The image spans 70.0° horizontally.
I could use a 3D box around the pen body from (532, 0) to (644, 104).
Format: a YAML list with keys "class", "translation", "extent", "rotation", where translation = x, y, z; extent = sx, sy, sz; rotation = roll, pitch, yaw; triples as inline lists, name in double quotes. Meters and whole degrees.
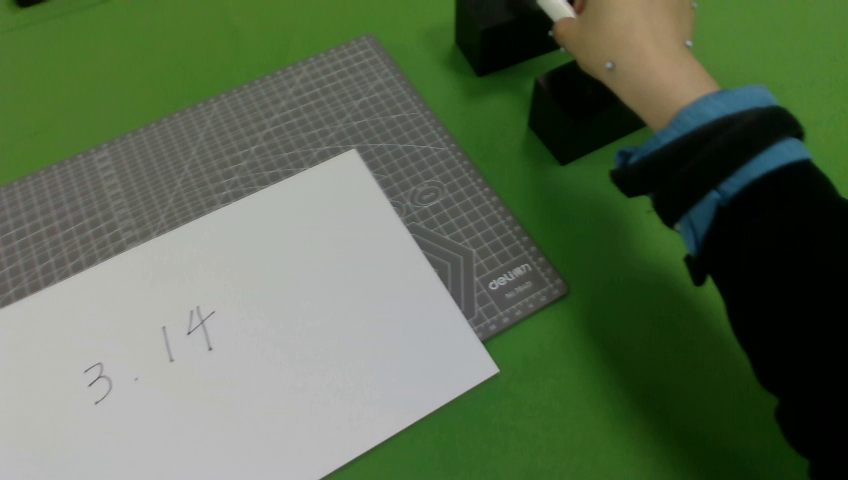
- class: "pen body"
  translation: [0.109, -0.153, 0.443]
  extent: [0.017, 0.017, 0.143]
  rotation: [-28, 68, -13]
